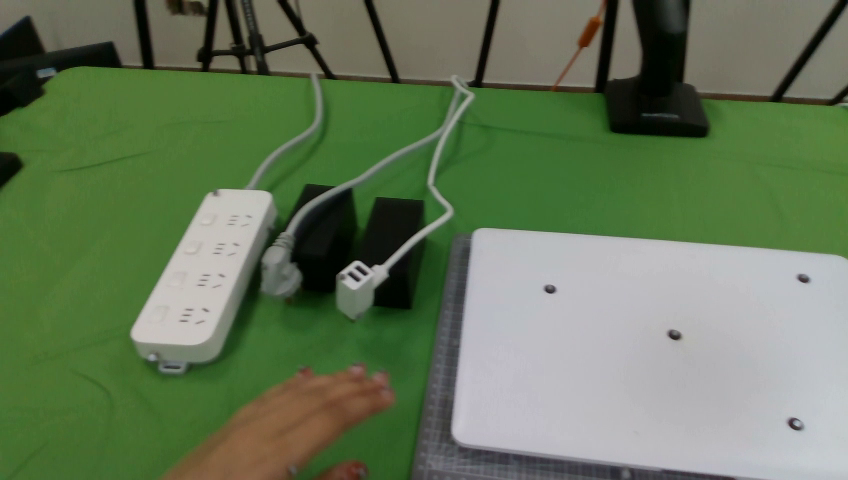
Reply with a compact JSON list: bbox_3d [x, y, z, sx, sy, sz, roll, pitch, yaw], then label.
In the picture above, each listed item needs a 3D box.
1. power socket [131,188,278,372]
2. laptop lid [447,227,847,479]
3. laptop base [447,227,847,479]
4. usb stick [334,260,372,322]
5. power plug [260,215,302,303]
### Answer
[{"bbox_3d":[-0.202,0.025,0.581,0.072,0.033,0.224,4,43,4],"label":"power socket"},{"bbox_3d":[0.205,0.081,0.504,0.356,0.013,0.239,6,46,8],"label":"laptop lid"},{"bbox_3d":[0.206,0.087,0.514,0.354,0.023,0.233,5,47,6],"label":"laptop base"},{"bbox_3d":[-0.060,0.046,0.508,0.021,0.059,0.027,34,51,19],"label":"usb stick"},{"bbox_3d":[-0.119,0.022,0.550,0.035,0.053,0.072,24,64,32],"label":"power plug"}]
